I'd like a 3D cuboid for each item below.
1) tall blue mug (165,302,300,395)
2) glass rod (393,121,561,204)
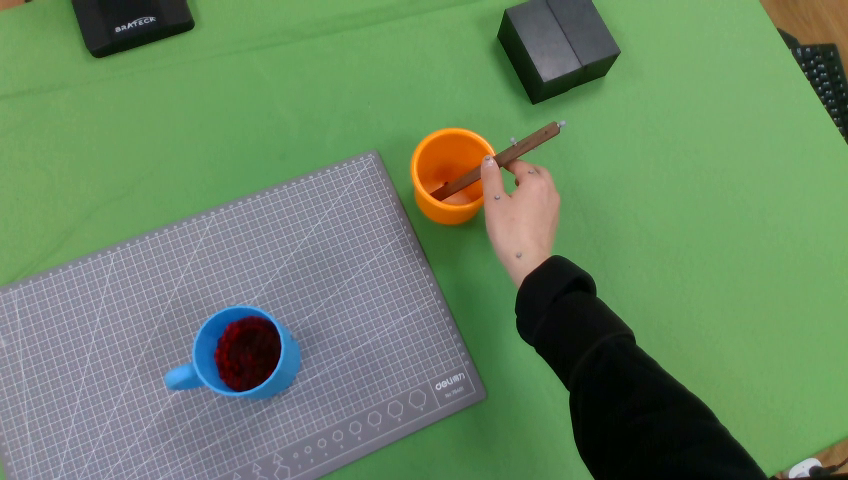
[{"bbox_3d":[-0.171,0.115,0.560,0.077,0.108,0.107,42,76,7],"label":"tall blue mug"},{"bbox_3d":[0.048,-0.076,0.618,0.199,0.008,0.008,-23,74,29],"label":"glass rod"}]
